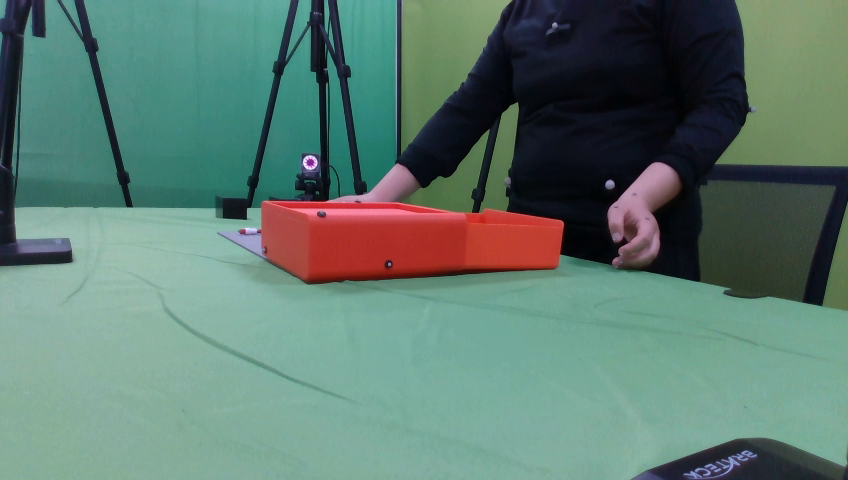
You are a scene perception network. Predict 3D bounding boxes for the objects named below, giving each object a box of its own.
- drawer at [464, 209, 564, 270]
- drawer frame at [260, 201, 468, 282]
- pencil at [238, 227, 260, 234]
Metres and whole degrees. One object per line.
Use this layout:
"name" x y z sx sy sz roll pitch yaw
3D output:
"drawer" 0.058 -0.006 0.880 0.213 0.073 0.193 0 9 -31
"drawer frame" -0.084 -0.006 0.795 0.215 0.082 0.200 -2 9 -30
"pencil" -0.240 -0.015 1.105 0.195 0.012 0.012 1 7 -29
